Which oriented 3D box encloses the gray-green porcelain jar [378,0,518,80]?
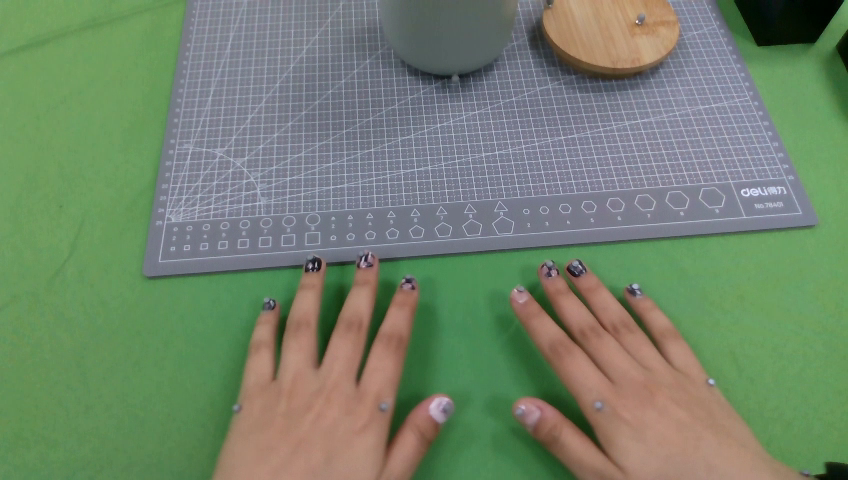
[{"bbox_3d":[0.018,-0.191,0.442,0.106,0.127,0.105,0,60,0],"label":"gray-green porcelain jar"}]

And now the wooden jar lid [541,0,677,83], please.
[{"bbox_3d":[0.147,-0.166,0.490,0.108,0.021,0.107,0,59,1],"label":"wooden jar lid"}]
